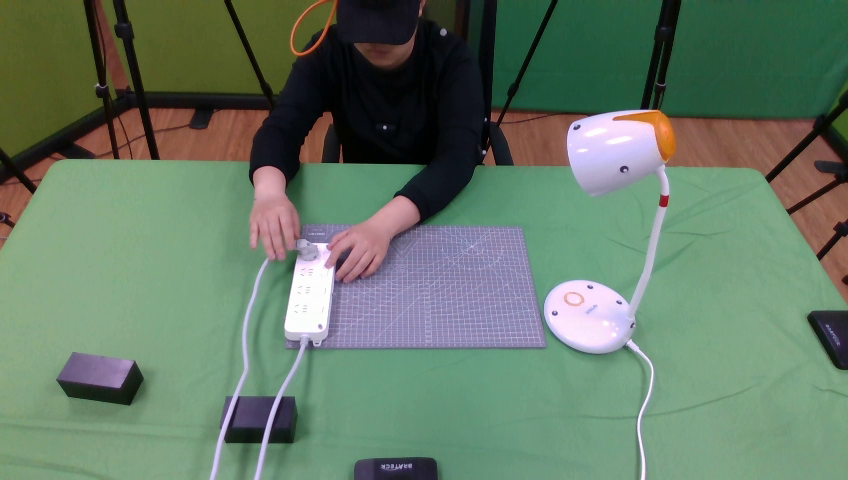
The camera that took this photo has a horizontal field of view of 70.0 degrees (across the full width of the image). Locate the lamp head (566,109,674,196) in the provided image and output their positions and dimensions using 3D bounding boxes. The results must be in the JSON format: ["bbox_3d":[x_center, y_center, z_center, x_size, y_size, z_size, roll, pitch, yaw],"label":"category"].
[{"bbox_3d":[0.272,-0.123,0.818,0.122,0.113,0.112,-9,35,37],"label":"lamp head"}]

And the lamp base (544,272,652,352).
[{"bbox_3d":[0.309,0.086,1.029,0.178,0.181,0.160,32,52,21],"label":"lamp base"}]

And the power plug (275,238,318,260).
[{"bbox_3d":[-0.232,0.017,1.119,0.072,0.053,0.035,10,47,6],"label":"power plug"}]

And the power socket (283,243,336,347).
[{"bbox_3d":[-0.202,0.088,1.086,0.072,0.033,0.225,1,46,-2],"label":"power socket"}]
